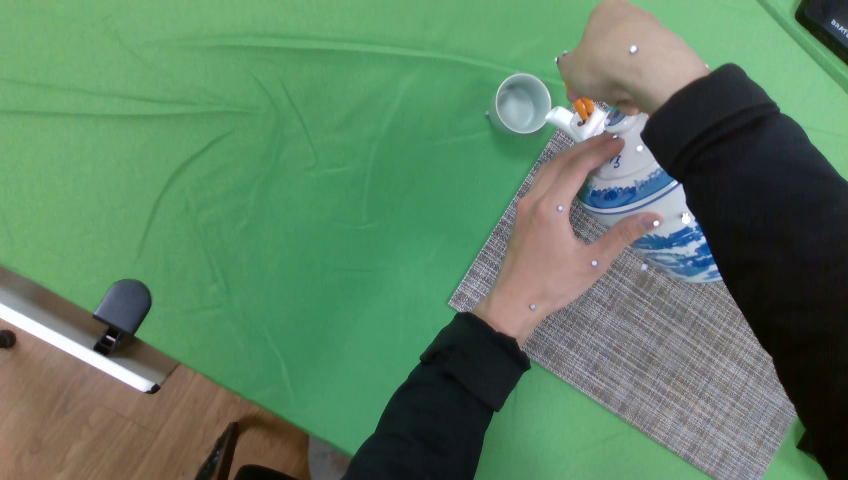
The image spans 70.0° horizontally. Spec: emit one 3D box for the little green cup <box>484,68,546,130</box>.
[{"bbox_3d":[0.093,-0.145,0.637,0.062,0.038,0.061,0,90,-13],"label":"little green cup"}]

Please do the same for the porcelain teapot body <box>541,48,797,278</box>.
[{"bbox_3d":[0.182,-0.081,0.533,0.227,0.203,0.145,32,91,-27],"label":"porcelain teapot body"}]

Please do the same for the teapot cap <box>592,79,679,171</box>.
[{"bbox_3d":[0.165,-0.095,0.487,0.044,0.084,0.085,32,84,-23],"label":"teapot cap"}]
